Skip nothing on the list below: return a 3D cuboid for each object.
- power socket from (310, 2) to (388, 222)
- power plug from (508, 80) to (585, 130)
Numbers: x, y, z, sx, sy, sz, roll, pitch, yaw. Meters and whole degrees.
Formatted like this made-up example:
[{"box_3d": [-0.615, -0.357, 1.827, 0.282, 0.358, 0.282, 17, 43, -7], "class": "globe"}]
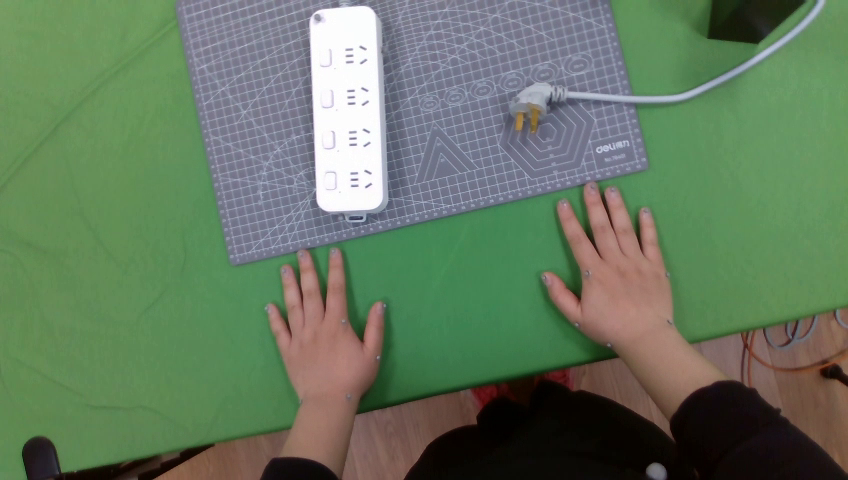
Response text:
[{"box_3d": [-0.078, -0.133, 0.627, 0.072, 0.032, 0.226, -2, 89, 6], "class": "power socket"}, {"box_3d": [0.120, -0.134, 0.598, 0.072, 0.035, 0.052, 3, 71, 18], "class": "power plug"}]
